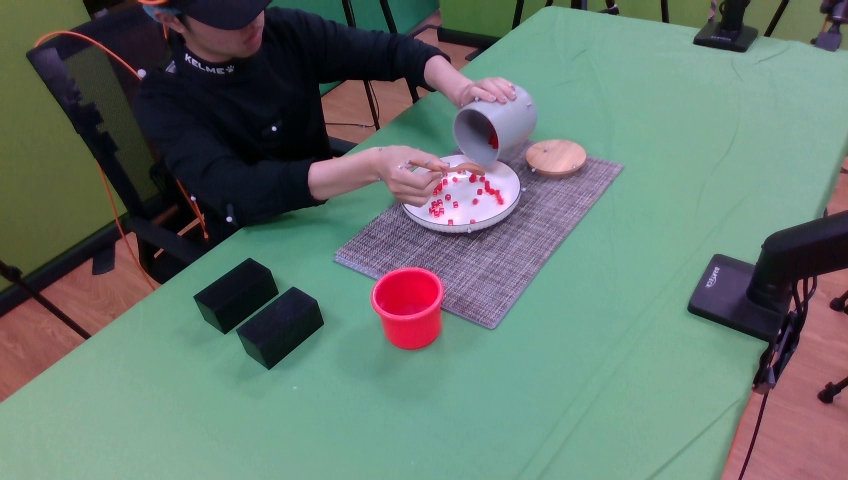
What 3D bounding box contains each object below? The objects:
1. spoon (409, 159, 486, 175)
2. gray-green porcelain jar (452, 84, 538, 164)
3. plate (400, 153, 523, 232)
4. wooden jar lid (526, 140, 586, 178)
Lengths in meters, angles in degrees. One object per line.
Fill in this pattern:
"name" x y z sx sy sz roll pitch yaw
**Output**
"spoon" 0.039 -0.115 0.962 0.041 0.021 0.195 17 14 35
"gray-green porcelain jar" 0.129 -0.207 1.057 0.105 0.106 0.127 26 49 33
"plate" 0.065 -0.078 1.034 0.207 0.039 0.206 -4 41 4
"wooden jar lid" 0.240 -0.147 1.103 0.108 0.021 0.108 -4 42 4
